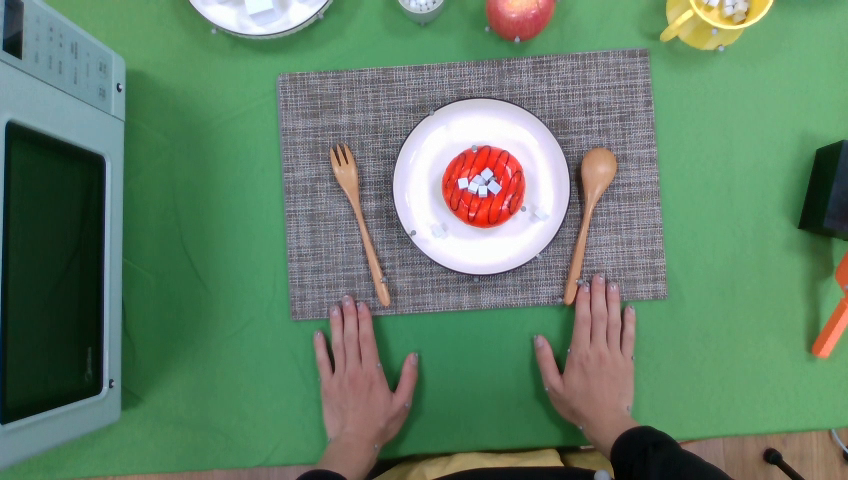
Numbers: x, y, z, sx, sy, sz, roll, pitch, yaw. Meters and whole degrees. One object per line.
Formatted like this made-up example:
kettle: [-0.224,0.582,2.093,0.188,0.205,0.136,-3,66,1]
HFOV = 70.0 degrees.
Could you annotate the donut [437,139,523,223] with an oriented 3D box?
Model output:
donut: [0.065,-0.068,0.700,0.099,0.048,0.099,0,90,3]

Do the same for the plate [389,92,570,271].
plate: [0.063,-0.067,0.711,0.209,0.038,0.209,0,88,2]

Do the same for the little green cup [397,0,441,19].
little green cup: [-0.006,-0.298,0.726,0.061,0.038,0.061,0,87,2]

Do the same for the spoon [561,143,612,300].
spoon: [0.188,-0.023,0.719,0.041,0.021,0.193,12,88,1]

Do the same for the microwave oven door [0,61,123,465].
microwave oven door: [-0.379,0.023,0.603,0.039,0.244,0.355,-1,87,2]

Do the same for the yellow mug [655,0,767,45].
yellow mug: [0.325,-0.278,0.703,0.131,0.064,0.100,-35,87,1]

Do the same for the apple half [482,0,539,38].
apple half: [0.095,-0.273,0.706,0.053,0.074,0.081,-24,90,5]

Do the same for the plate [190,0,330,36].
plate: [-0.194,-0.346,0.734,0.207,0.039,0.207,0,87,2]

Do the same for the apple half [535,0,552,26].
apple half: [0.130,-0.289,0.704,0.033,0.081,0.081,-24,86,4]

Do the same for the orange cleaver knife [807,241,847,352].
orange cleaver knife: [0.480,0.030,0.674,0.012,0.077,0.212,16,120,5]

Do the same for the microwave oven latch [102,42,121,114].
microwave oven latch: [-0.376,-0.190,0.713,0.030,0.029,0.079,1,88,1]

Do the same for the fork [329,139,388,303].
fork: [-0.077,-0.024,0.723,0.028,0.018,0.207,-16,87,-10]

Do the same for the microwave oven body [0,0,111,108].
microwave oven body: [-0.525,-0.017,0.614,0.326,0.260,0.441,-1,88,1]
